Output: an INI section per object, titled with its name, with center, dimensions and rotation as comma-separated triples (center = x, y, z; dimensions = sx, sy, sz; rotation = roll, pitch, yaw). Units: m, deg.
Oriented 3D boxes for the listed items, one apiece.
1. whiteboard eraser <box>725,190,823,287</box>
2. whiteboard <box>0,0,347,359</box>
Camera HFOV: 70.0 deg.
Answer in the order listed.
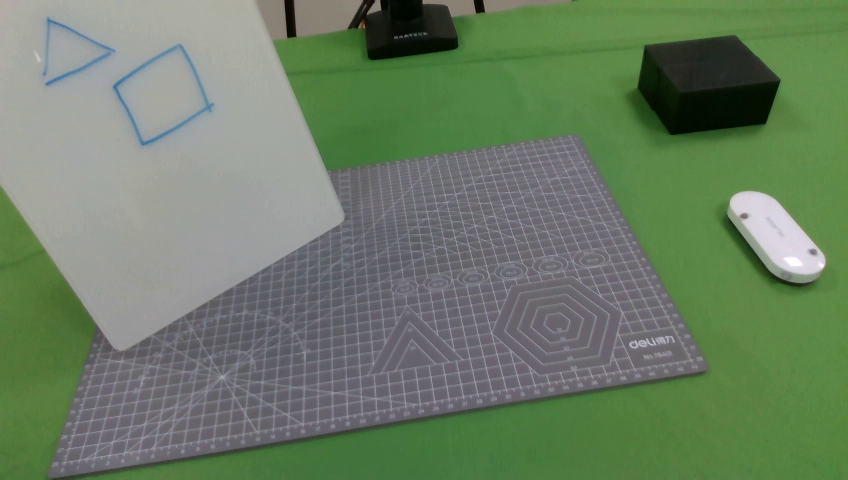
[whiteboard eraser]
center = 0.283, -0.005, 0.494
dimensions = 0.041, 0.019, 0.100
rotation = -8, 45, -3
[whiteboard]
center = -0.235, -0.105, 0.494
dimensions = 0.217, 0.308, 0.142
rotation = -33, 30, -24
